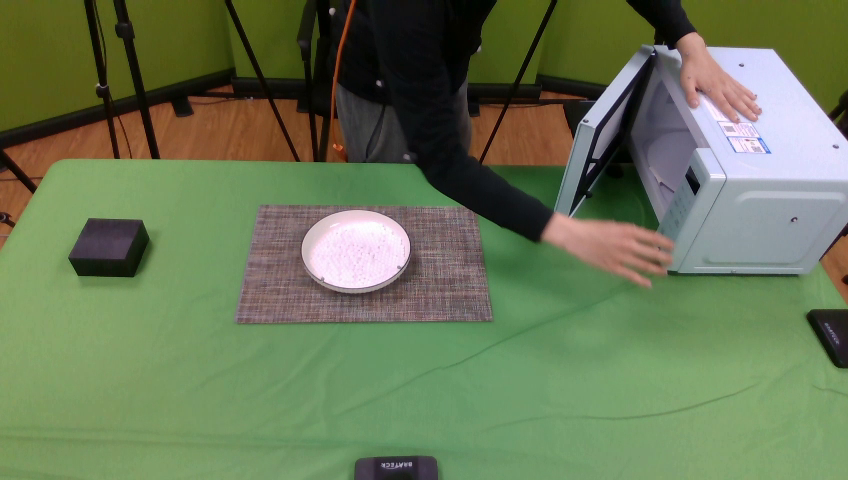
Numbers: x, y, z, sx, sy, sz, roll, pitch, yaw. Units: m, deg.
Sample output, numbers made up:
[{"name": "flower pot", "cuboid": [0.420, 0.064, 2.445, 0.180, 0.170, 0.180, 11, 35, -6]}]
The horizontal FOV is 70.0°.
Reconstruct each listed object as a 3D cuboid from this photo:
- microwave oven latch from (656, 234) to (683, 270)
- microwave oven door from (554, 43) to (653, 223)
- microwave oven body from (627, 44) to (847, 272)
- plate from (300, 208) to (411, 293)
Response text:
[{"name": "microwave oven latch", "cuboid": [0.474, 0.022, 1.175, 0.030, 0.029, 0.078, 3, 46, 0]}, {"name": "microwave oven door", "cuboid": [0.379, -0.229, 1.263, 0.039, 0.245, 0.355, 26, 51, 20]}, {"name": "microwave oven body", "cuboid": [0.620, -0.172, 1.234, 0.326, 0.261, 0.439, 0, 46, -3]}, {"name": "plate", "cuboid": [-0.129, 0.022, 1.149, 0.209, 0.038, 0.208, 3, 47, -2]}]
